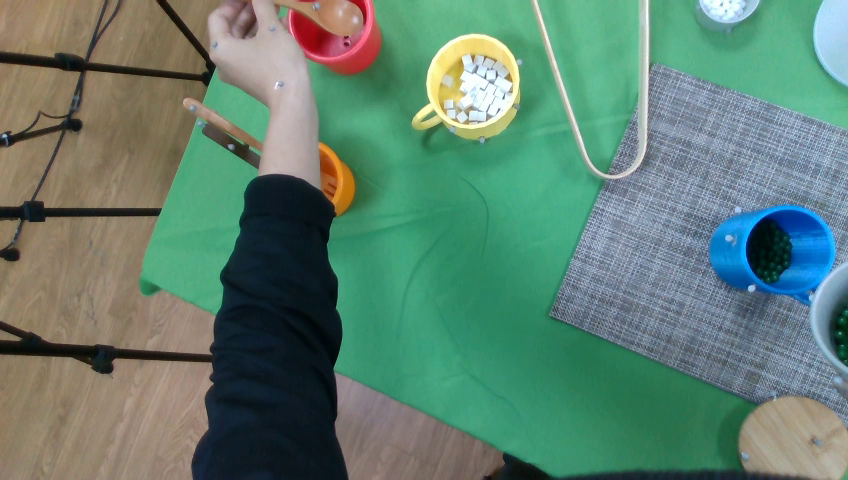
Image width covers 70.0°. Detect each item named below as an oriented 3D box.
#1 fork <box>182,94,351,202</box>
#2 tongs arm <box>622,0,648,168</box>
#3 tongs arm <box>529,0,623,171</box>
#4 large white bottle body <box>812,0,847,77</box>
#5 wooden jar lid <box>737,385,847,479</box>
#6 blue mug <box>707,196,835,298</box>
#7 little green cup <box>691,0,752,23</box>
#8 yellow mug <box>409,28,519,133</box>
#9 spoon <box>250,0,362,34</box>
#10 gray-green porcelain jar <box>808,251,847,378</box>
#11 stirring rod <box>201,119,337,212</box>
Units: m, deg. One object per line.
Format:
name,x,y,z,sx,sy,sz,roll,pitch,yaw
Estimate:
fork,-0.166,-0.098,0.663,0.209,0.018,0.028,31,95,-36
tongs arm,0.220,-0.271,0.640,0.028,0.027,0.388,-3,96,1
tongs arm,0.138,-0.255,0.651,0.051,0.026,0.385,-17,95,6
large white bottle body,0.456,-0.229,0.545,0.130,0.185,0.130,0,89,10
wooden jar lid,0.387,0.205,0.639,0.108,0.021,0.108,0,93,12
blue mug,0.349,0.014,0.599,0.082,0.106,0.116,-42,84,7
little green cup,0.315,-0.262,0.641,0.061,0.039,0.061,0,91,9
yellow mug,0.040,-0.166,0.672,0.131,0.064,0.100,-30,86,9
spoon,-0.148,-0.243,0.617,0.021,0.195,0.041,-5,89,48
gray-green porcelain jar,0.373,0.071,0.472,0.105,0.128,0.105,-23,52,34
stirring rod,-0.165,-0.078,0.666,0.005,0.178,0.014,15,75,52
